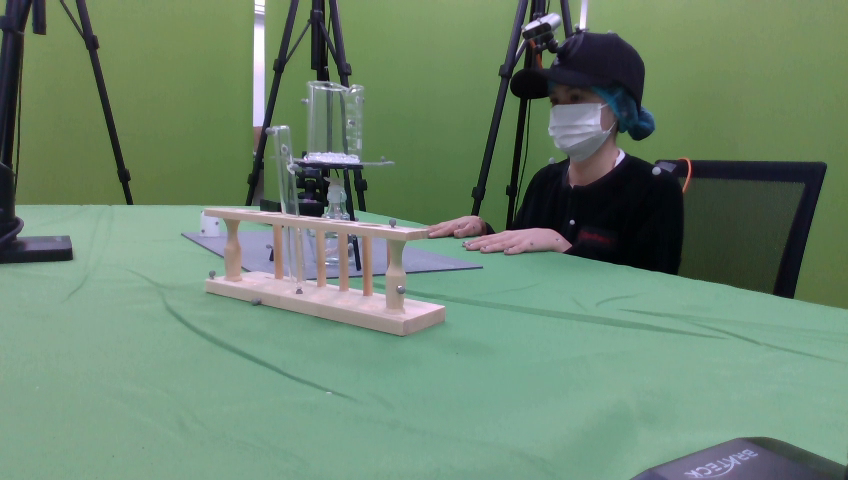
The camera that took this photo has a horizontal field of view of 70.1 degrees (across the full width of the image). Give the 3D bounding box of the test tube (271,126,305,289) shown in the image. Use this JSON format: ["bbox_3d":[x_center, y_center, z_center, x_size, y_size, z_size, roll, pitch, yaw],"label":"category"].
[{"bbox_3d":[-0.124,-0.028,0.554,0.017,0.150,0.017,-5,7,1],"label":"test tube"}]

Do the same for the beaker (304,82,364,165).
[{"bbox_3d":[-0.115,-0.148,0.779,0.074,0.100,0.083,-2,10,-30],"label":"beaker"}]

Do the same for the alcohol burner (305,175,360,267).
[{"bbox_3d":[-0.117,-0.025,0.792,0.078,0.119,0.078,1,8,0],"label":"alcohol burner"}]

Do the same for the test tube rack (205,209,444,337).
[{"bbox_3d":[-0.100,0.021,0.565,0.241,0.085,0.067,7,9,32],"label":"test tube rack"}]

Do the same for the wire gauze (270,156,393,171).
[{"bbox_3d":[-0.122,-0.100,0.786,0.122,0.011,0.124,-5,14,-38],"label":"wire gauze"}]

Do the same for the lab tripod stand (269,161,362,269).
[{"bbox_3d":[-0.125,-0.036,0.794,0.148,0.131,0.148,5,7,0],"label":"lab tripod stand"}]

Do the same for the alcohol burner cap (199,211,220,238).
[{"bbox_3d":[-0.356,-0.027,1.002,0.034,0.048,0.034,3,7,0],"label":"alcohol burner cap"}]
